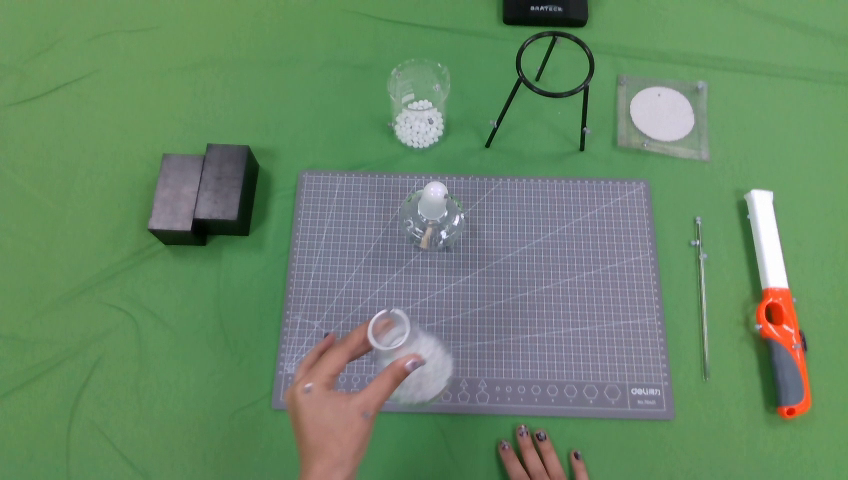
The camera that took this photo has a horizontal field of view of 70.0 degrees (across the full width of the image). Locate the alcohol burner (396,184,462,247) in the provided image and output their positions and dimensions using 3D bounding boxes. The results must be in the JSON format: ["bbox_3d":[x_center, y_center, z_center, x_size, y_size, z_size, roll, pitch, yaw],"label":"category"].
[{"bbox_3d":[0.007,-0.037,0.700,0.078,0.120,0.077,1,69,-2],"label":"alcohol burner"}]

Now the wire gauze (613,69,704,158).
[{"bbox_3d":[0.315,-0.174,0.813,0.125,0.011,0.121,9,71,1],"label":"wire gauze"}]

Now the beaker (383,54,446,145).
[{"bbox_3d":[-0.009,-0.173,0.760,0.084,0.101,0.073,-38,75,-13],"label":"beaker"}]

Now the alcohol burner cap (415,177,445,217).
[{"bbox_3d":[0.008,-0.051,0.667,0.034,0.048,0.033,4,63,-7],"label":"alcohol burner cap"}]

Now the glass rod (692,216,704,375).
[{"bbox_3d":[0.328,0.062,0.727,0.008,0.008,0.198,6,70,1],"label":"glass rod"}]

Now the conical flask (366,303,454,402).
[{"bbox_3d":[-0.018,0.095,0.538,0.075,0.123,0.074,-4,63,9],"label":"conical flask"}]

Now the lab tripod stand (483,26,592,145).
[{"bbox_3d":[0.143,-0.182,0.747,0.148,0.132,0.147,0,72,0],"label":"lab tripod stand"}]

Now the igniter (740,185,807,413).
[{"bbox_3d":[0.412,0.063,0.718,0.057,0.025,0.274,5,70,-10],"label":"igniter"}]
